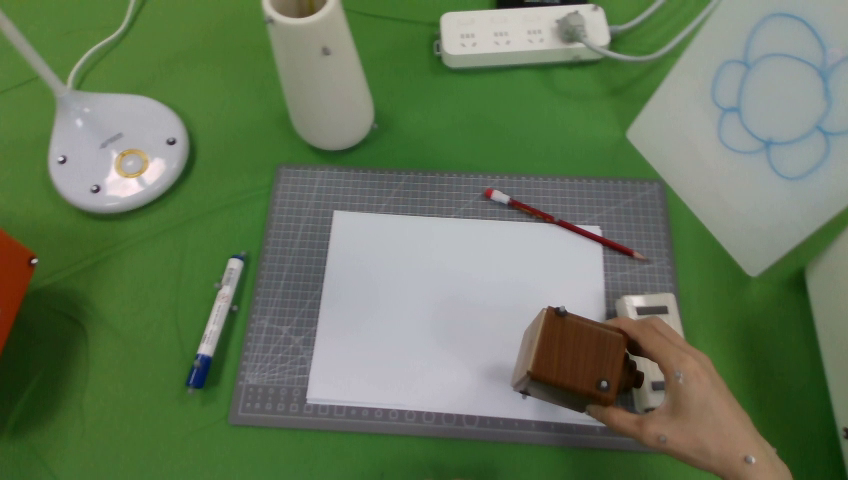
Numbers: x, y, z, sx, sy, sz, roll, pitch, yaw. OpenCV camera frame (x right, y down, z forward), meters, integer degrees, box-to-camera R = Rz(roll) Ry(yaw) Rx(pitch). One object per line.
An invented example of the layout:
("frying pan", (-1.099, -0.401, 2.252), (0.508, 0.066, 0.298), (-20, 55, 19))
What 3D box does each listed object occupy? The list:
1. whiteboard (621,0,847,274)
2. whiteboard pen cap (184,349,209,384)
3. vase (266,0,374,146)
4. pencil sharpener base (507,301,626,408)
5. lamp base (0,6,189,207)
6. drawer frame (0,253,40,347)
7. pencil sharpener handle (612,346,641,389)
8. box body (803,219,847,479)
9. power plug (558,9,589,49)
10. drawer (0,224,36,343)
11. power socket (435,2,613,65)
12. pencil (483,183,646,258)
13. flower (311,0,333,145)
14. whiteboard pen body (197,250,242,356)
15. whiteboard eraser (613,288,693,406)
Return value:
("whiteboard", (0.387, -0.148, 0.599), (0.144, 0.307, 0.215), (-19, 65, -28))
("whiteboard pen cap", (-0.225, 0.125, 0.601), (0.018, 0.018, 0.033), (7, 60, 5))
("vase", (-0.111, -0.188, 0.649), (0.098, 0.201, 0.097), (-1, 65, 2))
("pencil sharpener base", (0.122, 0.102, 0.522), (0.076, 0.107, 0.061), (17, 71, 5))
("lamp base", (-0.368, -0.149, 0.644), (0.178, 0.181, 0.160), (34, 70, 18))
("drawer frame", (-0.509, 0.075, 0.553), (0.213, 0.083, 0.200), (6, 66, 1))
("pencil sharpener handle", (0.171, 0.109, 0.507), (0.030, 0.068, 0.036), (17, 85, 5))
("box body", (0.506, 0.143, 0.511), (0.254, 0.161, 0.361), (2, 66, 2))
("power plug", (0.180, -0.248, 0.738), (0.035, 0.053, 0.072), (7, 67, 5))
("drawer", (-0.503, 0.073, 0.551), (0.212, 0.074, 0.193), (6, 67, 3))
("power socket", (0.128, -0.263, 0.770), (0.227, 0.033, 0.071), (-2, 66, -1))
("pencil", (0.154, -0.021, 0.671), (0.193, 0.012, 0.012), (25, 68, 10))
("flower", (-0.105, -0.239, 0.581), (0.038, 0.365, 0.043), (-9, 47, -10))
("whiteboard pen body", (-0.214, 0.073, 0.628), (0.017, 0.017, 0.139), (7, 62, 5))
("whiteboard eraser", (0.223, 0.104, 0.595), (0.055, 0.042, 0.112), (-2, 66, -2))
